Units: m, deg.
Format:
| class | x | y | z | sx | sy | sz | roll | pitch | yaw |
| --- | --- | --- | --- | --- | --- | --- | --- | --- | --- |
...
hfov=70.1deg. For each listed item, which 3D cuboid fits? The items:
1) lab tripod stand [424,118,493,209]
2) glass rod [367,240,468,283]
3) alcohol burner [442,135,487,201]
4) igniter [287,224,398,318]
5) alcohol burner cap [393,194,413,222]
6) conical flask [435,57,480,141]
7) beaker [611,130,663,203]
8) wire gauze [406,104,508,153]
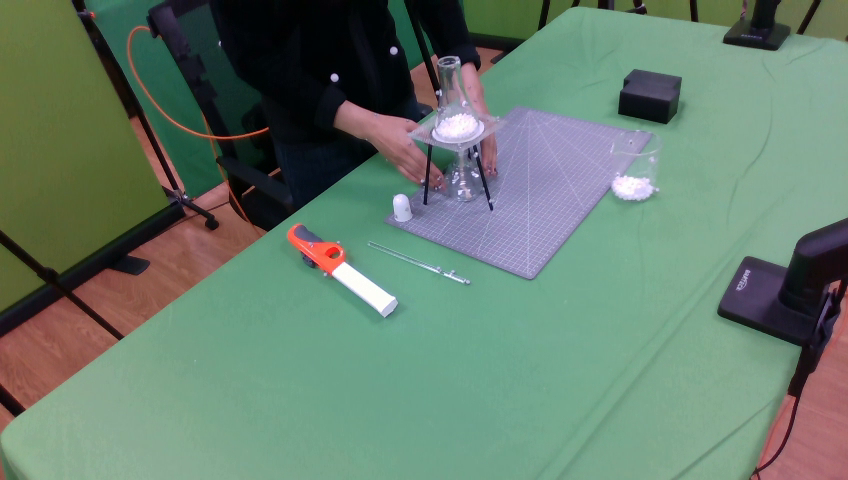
| class | x | y | z | sx | sy | sz | roll | pitch | yaw |
| --- | --- | --- | --- | --- | --- | --- | --- | --- | --- |
| lab tripod stand | 0.061 | -0.133 | 1.038 | 0.148 | 0.132 | 0.147 | -6 | 38 | 6 |
| glass rod | -0.015 | 0.032 | 0.959 | 0.198 | 0.008 | 0.008 | 21 | 49 | 30 |
| alcohol burner | 0.069 | -0.128 | 1.046 | 0.078 | 0.119 | 0.077 | -5 | 38 | 4 |
| igniter | -0.139 | 0.042 | 0.958 | 0.057 | 0.025 | 0.274 | -42 | 49 | -19 |
| alcohol burner cap | -0.039 | -0.057 | 1.038 | 0.034 | 0.048 | 0.033 | -5 | 40 | 5 |
| conical flask | 0.046 | -0.225 | 0.955 | 0.075 | 0.122 | 0.075 | -7 | 39 | 6 |
| beaker | 0.346 | -0.118 | 0.998 | 0.084 | 0.101 | 0.073 | -17 | 40 | -7 |
| wire gauze | 0.054 | -0.183 | 0.997 | 0.120 | 0.011 | 0.125 | 25 | 53 | 38 |
